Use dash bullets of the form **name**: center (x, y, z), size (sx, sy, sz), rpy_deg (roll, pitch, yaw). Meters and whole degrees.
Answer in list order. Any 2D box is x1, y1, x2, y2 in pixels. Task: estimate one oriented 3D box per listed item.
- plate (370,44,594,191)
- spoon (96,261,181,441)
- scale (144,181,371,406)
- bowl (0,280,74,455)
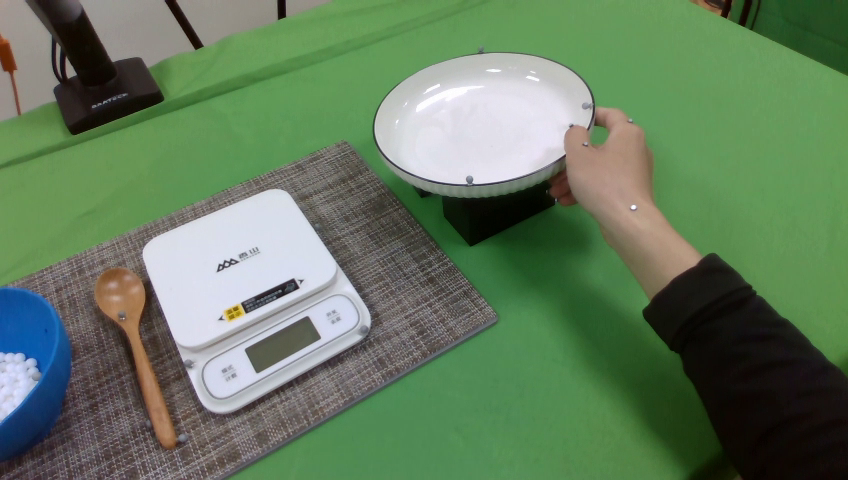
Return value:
- **plate**: center (0.054, -0.116, 0.575), size (0.209, 0.038, 0.207), rpy_deg (-5, 48, 6)
- **spoon**: center (-0.239, 0.087, 0.509), size (0.042, 0.022, 0.191), rpy_deg (-16, 47, -28)
- **scale**: center (-0.152, 0.036, 0.538), size (0.149, 0.032, 0.198), rpy_deg (-28, 52, -17)
- **bowl**: center (-0.333, 0.112, 0.459), size (0.151, 0.077, 0.150), rpy_deg (-3, 48, 4)
